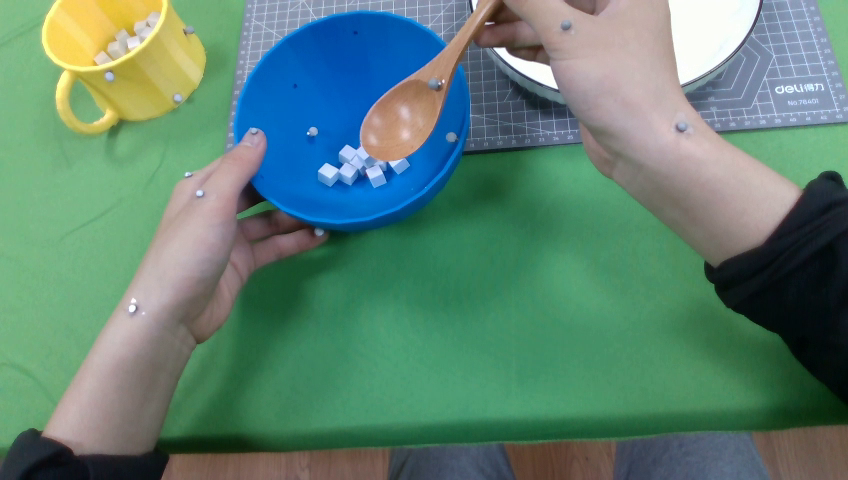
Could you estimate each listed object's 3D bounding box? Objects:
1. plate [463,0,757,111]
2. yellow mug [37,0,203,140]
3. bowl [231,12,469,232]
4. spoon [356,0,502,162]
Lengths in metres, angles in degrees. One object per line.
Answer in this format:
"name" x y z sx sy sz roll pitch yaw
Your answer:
"plate" 0.133 -0.180 0.453 0.209 0.038 0.207 -3 67 6
"yellow mug" -0.244 -0.138 0.475 0.099 0.064 0.130 19 72 15
"bowl" -0.042 -0.067 0.409 0.151 0.077 0.150 -3 71 8
"spoon" 0.029 -0.118 0.331 0.041 0.022 0.194 49 113 16
